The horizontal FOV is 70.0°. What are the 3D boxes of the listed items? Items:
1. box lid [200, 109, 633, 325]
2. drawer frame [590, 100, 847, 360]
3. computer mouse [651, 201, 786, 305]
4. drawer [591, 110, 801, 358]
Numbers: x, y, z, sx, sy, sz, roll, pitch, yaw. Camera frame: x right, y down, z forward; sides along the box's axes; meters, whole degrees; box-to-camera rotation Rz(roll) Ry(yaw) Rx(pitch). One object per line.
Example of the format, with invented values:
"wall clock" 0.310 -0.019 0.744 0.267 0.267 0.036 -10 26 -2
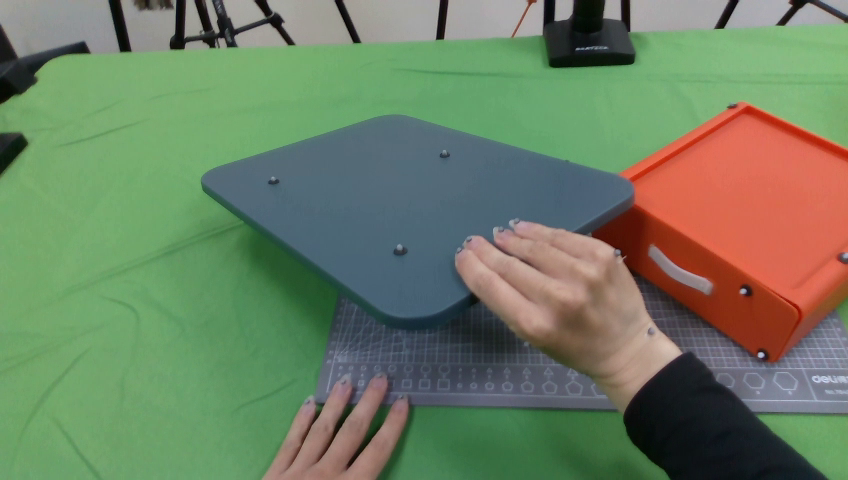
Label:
"box lid" -0.025 -0.051 0.569 0.263 0.015 0.367 -27 36 -31
"drawer frame" 0.302 -0.025 0.563 0.214 0.083 0.199 -29 49 -24
"computer mouse" 0.271 0.007 0.557 0.063 0.041 0.116 -27 55 -25
"drawer" 0.300 -0.021 0.563 0.212 0.074 0.192 -29 48 -23
